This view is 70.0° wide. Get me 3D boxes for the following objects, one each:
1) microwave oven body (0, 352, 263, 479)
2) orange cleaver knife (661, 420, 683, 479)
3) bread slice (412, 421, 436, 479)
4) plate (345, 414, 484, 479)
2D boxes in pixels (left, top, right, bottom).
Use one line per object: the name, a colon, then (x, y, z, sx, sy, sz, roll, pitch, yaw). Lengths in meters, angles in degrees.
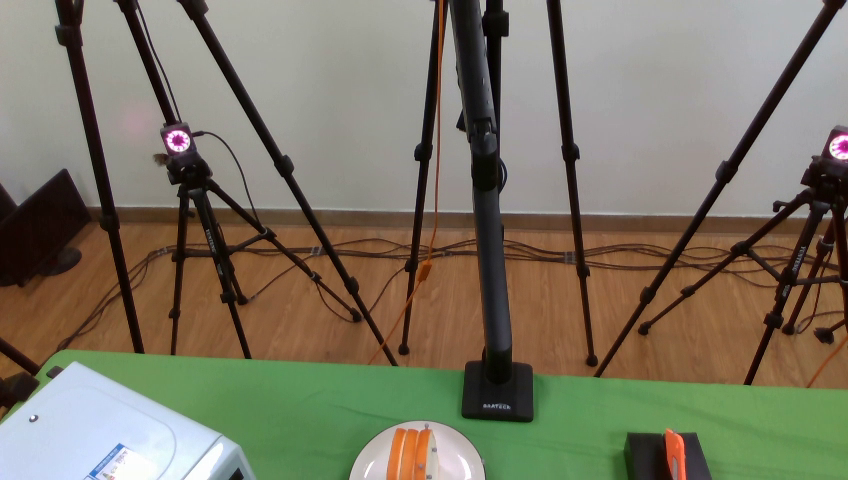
microwave oven body: (-0.452, 0.409, 0.724, 0.324, 0.262, 0.440, 17, 46, 22)
orange cleaver knife: (0.353, 0.358, 0.841, 0.012, 0.077, 0.210, -2, 70, 3)
bread slice: (0.001, 0.327, 0.867, 0.018, 0.135, 0.106, -1, 45, 7)
plate: (-0.013, 0.361, 0.913, 0.207, 0.039, 0.205, -2, 41, 2)
